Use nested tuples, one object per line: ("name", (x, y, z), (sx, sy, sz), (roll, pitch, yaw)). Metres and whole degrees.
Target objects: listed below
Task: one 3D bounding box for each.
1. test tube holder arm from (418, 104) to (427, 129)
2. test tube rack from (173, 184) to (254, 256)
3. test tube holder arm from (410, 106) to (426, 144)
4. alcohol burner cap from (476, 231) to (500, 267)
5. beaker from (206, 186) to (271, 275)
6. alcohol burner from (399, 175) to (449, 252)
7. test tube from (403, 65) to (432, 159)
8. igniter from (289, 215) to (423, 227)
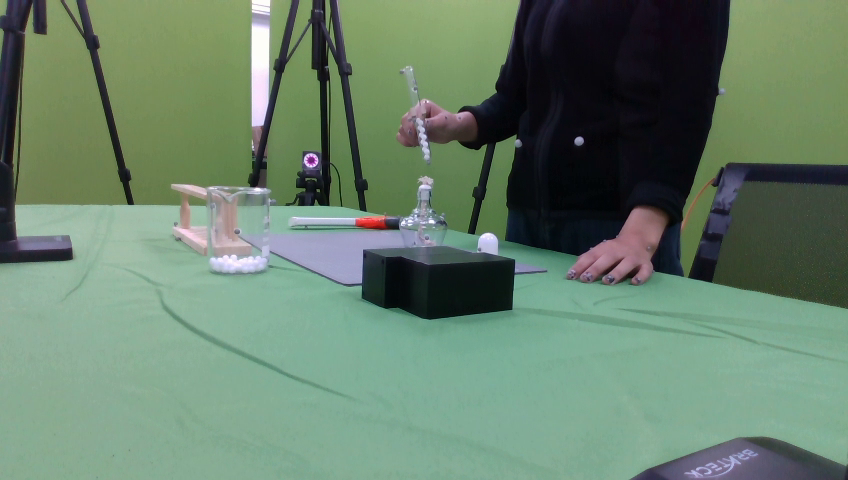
("test tube holder arm", (-0.004, -0.193, 0.954), (0.010, 0.015, 0.088), (-10, -6, -6))
("test tube rack", (-0.328, -0.036, 0.927), (0.067, 0.085, 0.241), (-2, 9, -32))
("test tube holder arm", (-0.009, -0.187, 0.999), (0.013, 0.015, 0.178), (-10, -6, 2))
("alcohol burner cap", (0.088, 0.012, 0.830), (0.034, 0.048, 0.034), (2, 6, 0))
("beaker", (-0.220, -0.012, 0.717), (0.074, 0.100, 0.084), (2, 8, -3))
("alcohol burner", (0.000, -0.041, 0.937), (0.078, 0.119, 0.078), (0, 8, 0))
("test tube", (-0.009, -0.198, 0.932), (0.017, 0.150, 0.017), (-12, -6, -1))
("igniter", (-0.133, -0.038, 1.232), (0.278, 0.025, 0.057), (-1, -2, -25))
